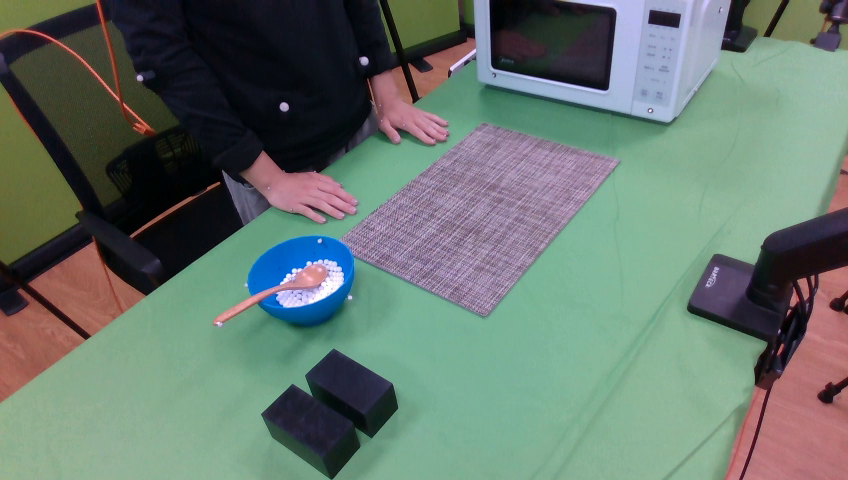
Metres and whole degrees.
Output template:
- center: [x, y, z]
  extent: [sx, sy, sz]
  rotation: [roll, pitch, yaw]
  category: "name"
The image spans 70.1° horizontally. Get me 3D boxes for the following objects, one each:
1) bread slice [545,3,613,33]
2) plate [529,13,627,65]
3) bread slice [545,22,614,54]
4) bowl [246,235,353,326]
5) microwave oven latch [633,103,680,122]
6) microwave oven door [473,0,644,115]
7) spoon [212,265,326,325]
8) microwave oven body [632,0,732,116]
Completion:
- center: [0.330, -0.474, 1.281]
  extent: [0.131, 0.019, 0.104]
  rotation: [-10, 38, 0]
  category: "bread slice"
- center: [0.333, -0.433, 1.317]
  extent: [0.207, 0.039, 0.206]
  rotation: [-5, 42, 5]
  category: "plate"
- center: [0.340, -0.440, 1.310]
  extent: [0.135, 0.018, 0.106]
  rotation: [-11, 48, -10]
  category: "bread slice"
- center: [-0.170, 0.070, 0.868]
  extent: [0.151, 0.077, 0.150]
  rotation: [-4, 41, 4]
  category: "bowl"
- center: [0.444, -0.249, 1.157]
  extent: [0.078, 0.029, 0.030]
  rotation: [20, 48, 30]
  category: "microwave oven latch"
- center: [0.257, -0.396, 1.199]
  extent: [0.353, 0.245, 0.039]
  rotation: [21, 48, 29]
  category: "microwave oven door"
- center: [-0.207, 0.072, 0.822]
  extent: [0.041, 0.021, 0.195]
  rotation: [27, 29, 27]
  category: "spoon"
- center: [0.377, -0.462, 1.267]
  extent: [0.438, 0.261, 0.327]
  rotation: [21, 48, 30]
  category: "microwave oven body"
